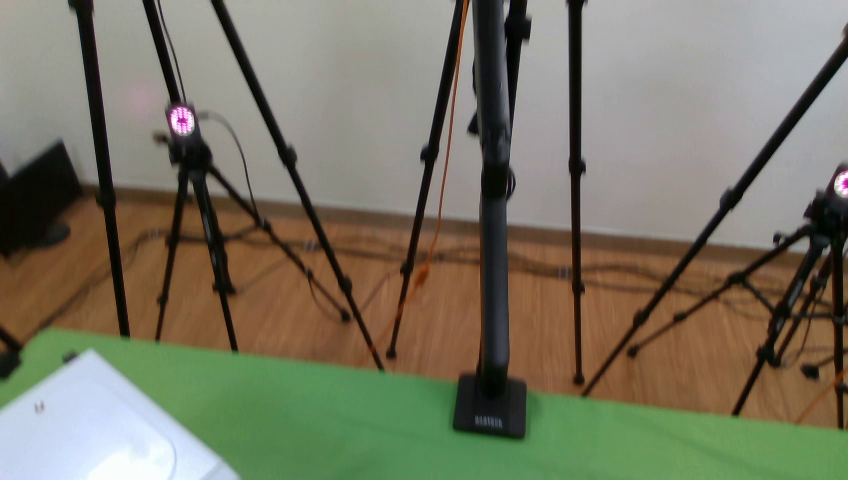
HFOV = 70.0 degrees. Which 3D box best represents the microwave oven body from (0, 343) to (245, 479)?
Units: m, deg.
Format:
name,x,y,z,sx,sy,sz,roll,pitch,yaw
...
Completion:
name,x,y,z,sx,sy,sz,roll,pitch,yaw
microwave oven body,-0.460,0.392,0.691,0.323,0.262,0.441,26,47,26
